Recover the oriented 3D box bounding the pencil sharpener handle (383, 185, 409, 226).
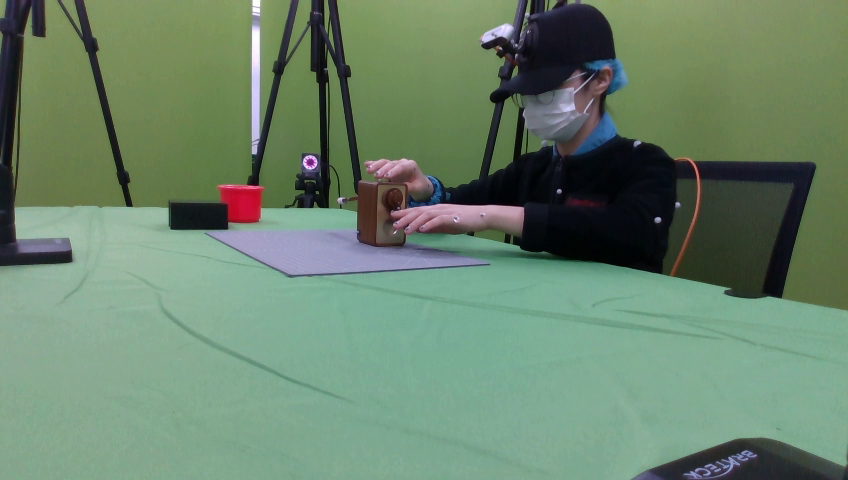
[{"bbox_3d":[-0.040,-0.055,0.975,0.036,0.068,0.030,-20,18,-28],"label":"pencil sharpener handle"}]

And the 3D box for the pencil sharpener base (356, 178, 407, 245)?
[{"bbox_3d":[-0.071,-0.048,1.018,0.062,0.107,0.076,-2,8,-32],"label":"pencil sharpener base"}]

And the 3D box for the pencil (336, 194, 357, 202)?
[{"bbox_3d":[-0.122,-0.080,1.103,0.012,0.012,0.193,-2,1,-29],"label":"pencil"}]
